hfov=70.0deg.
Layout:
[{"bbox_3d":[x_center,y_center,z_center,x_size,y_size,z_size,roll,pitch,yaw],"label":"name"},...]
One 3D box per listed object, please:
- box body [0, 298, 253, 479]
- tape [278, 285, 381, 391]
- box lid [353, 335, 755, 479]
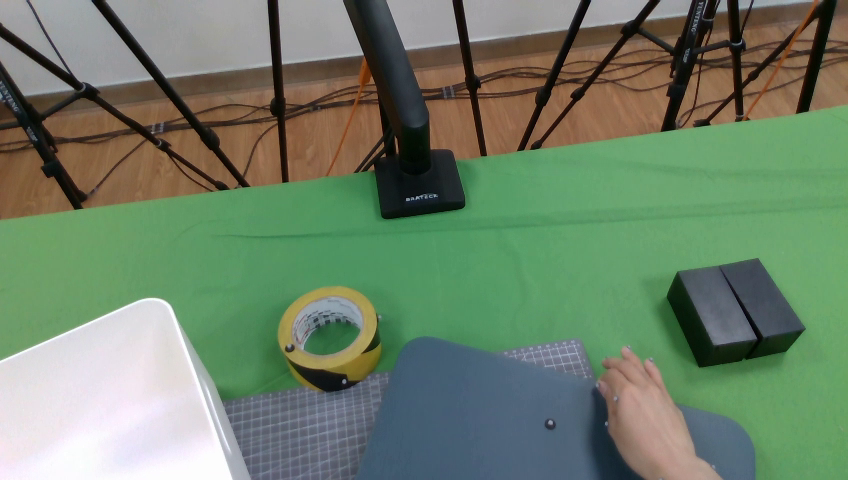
[{"bbox_3d":[-0.338,0.251,0.520,0.364,0.162,0.251,-25,55,-16],"label":"box body"},{"bbox_3d":[-0.108,0.110,0.694,0.117,0.053,0.115,-1,49,2],"label":"tape"},{"bbox_3d":[0.121,0.244,0.563,0.371,0.015,0.261,14,56,7],"label":"box lid"}]
